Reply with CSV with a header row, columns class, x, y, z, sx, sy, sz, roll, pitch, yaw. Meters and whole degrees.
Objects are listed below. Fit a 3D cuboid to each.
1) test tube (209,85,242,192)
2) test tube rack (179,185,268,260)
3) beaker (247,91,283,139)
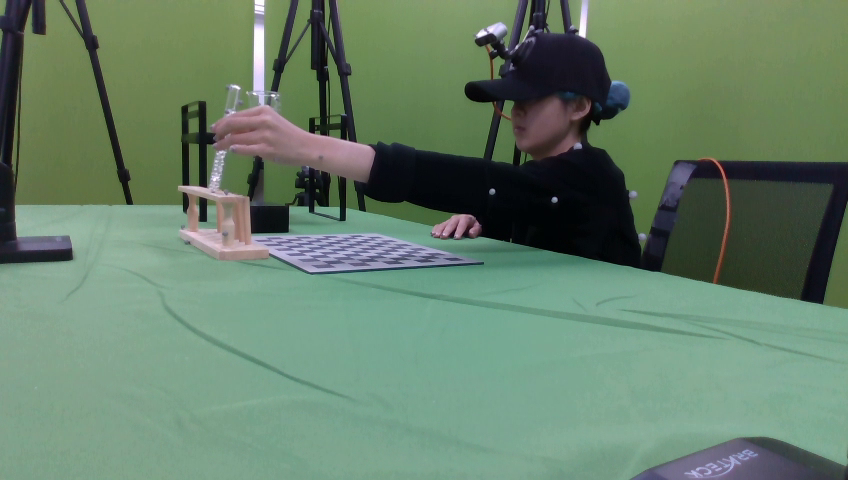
class,x,y,z,sx,sy,sz,roll,pitch,yaw
test tube,-0.276,-0.140,0.839,0.017,0.150,0.017,14,5,-1
test tube rack,-0.303,-0.032,0.898,0.067,0.085,0.241,-2,9,-33
beaker,-0.357,-0.278,1.348,0.073,0.100,0.084,9,10,39
